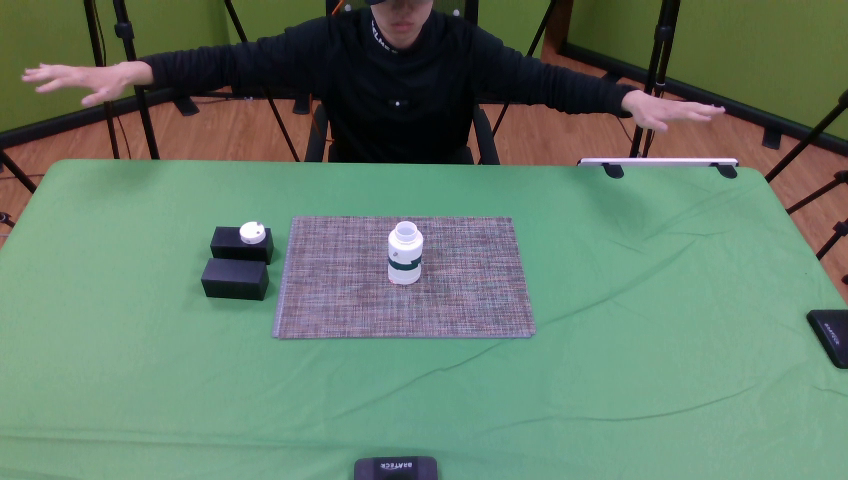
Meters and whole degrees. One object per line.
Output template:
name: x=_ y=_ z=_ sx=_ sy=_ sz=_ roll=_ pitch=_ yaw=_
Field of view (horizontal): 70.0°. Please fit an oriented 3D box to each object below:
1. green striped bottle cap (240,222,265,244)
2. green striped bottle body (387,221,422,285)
green striped bottle cap: x=-0.318 y=-0.013 z=1.123 sx=0.044 sy=0.020 sz=0.044 roll=0 pitch=46 yaw=0
green striped bottle body: x=-0.035 y=0.021 z=1.103 sx=0.063 sy=0.120 sz=0.063 roll=2 pitch=46 yaw=-2
